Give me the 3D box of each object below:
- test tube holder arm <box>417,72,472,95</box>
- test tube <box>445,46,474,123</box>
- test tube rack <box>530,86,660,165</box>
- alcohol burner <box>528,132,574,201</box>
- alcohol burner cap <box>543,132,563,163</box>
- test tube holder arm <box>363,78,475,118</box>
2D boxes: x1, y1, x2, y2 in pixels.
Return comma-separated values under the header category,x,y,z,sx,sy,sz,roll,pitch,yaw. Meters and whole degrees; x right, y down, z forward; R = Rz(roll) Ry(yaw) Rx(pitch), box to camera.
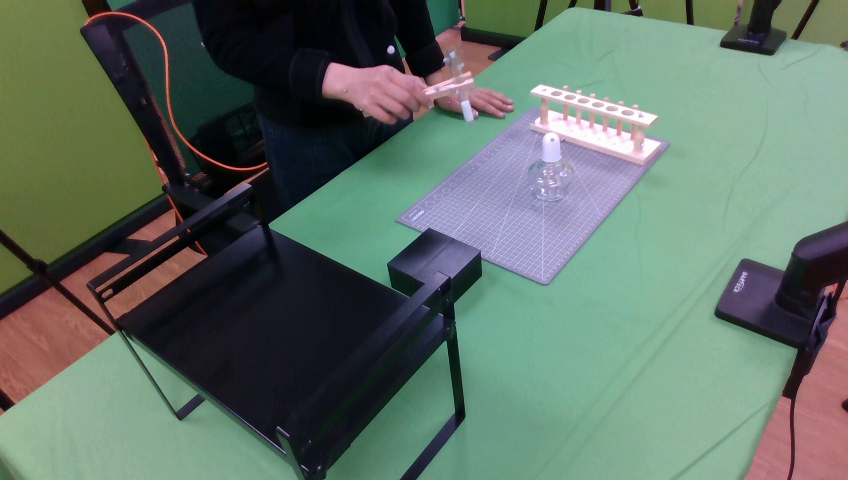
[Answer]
category,x,y,z,sx,sy,sz,roll,pitch,yaw
test tube holder arm,0.033,-0.236,0.932,0.088,0.015,0.010,-21,52,3
test tube,0.057,-0.236,0.933,0.017,0.151,0.017,-8,56,12
test tube rack,0.320,-0.226,1.140,0.240,0.085,0.067,27,51,34
alcohol burner,0.214,-0.126,1.016,0.078,0.119,0.077,-5,38,5
alcohol burner cap,0.211,-0.154,0.994,0.034,0.048,0.033,-7,35,6
test tube holder arm,-0.009,-0.219,0.933,0.178,0.015,0.013,-15,52,7
